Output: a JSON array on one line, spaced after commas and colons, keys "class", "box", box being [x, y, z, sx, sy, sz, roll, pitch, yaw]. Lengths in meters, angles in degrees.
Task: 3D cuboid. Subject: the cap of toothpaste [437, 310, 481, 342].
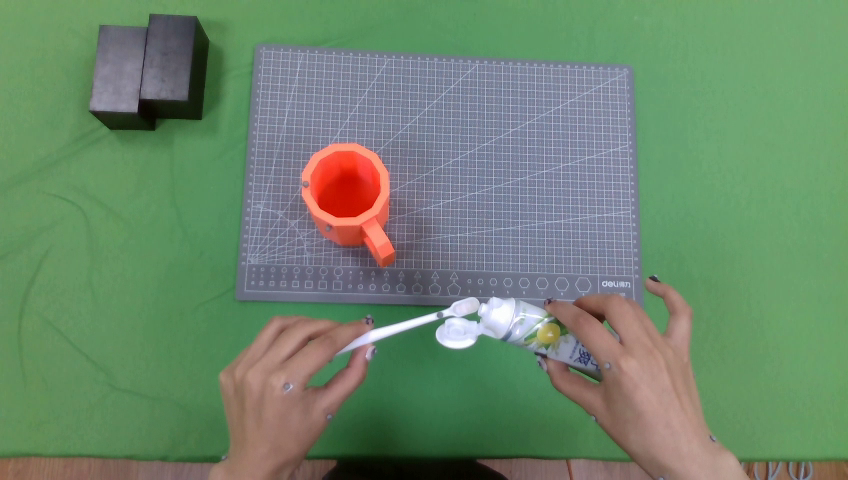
[{"class": "cap of toothpaste", "box": [0.028, 0.068, 0.489, 0.037, 0.011, 0.037, -1, 34, 1]}]

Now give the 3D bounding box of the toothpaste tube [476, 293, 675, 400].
[{"class": "toothpaste tube", "box": [0.118, 0.081, 0.486, 0.165, 0.034, 0.055, 19, 102, -6]}]

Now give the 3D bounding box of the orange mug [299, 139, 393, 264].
[{"class": "orange mug", "box": [-0.072, -0.034, 0.630, 0.083, 0.101, 0.125, -32, 78, -9]}]

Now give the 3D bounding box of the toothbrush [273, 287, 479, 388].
[{"class": "toothbrush", "box": [-0.040, 0.080, 0.492, 0.182, 0.014, 0.016, -24, 70, 2]}]
